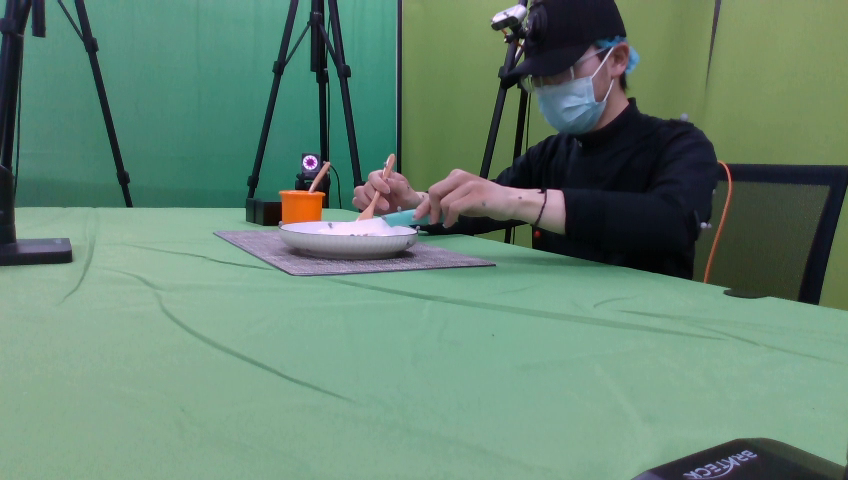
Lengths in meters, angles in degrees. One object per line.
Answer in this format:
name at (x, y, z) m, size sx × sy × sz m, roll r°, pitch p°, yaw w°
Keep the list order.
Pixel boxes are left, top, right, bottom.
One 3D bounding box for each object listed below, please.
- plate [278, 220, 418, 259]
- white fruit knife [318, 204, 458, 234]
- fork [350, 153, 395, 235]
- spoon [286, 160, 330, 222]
plate at (-0.114, -0.002, 0.914) m, size 0.209 × 0.038 × 0.209 m, roll 2°, pitch 8°, yaw 0°
white fruit knife at (-0.055, -0.028, 0.891) m, size 0.207 × 0.027 × 0.016 m, roll -8°, pitch 10°, yaw 2°
fork at (-0.079, -0.073, 0.983) m, size 0.028 × 0.018 × 0.207 m, roll 13°, pitch 48°, yaw 7°
spoon at (-0.233, -0.101, 1.252) m, size 0.041 × 0.193 × 0.022 m, roll 2°, pitch -38°, yaw 24°
